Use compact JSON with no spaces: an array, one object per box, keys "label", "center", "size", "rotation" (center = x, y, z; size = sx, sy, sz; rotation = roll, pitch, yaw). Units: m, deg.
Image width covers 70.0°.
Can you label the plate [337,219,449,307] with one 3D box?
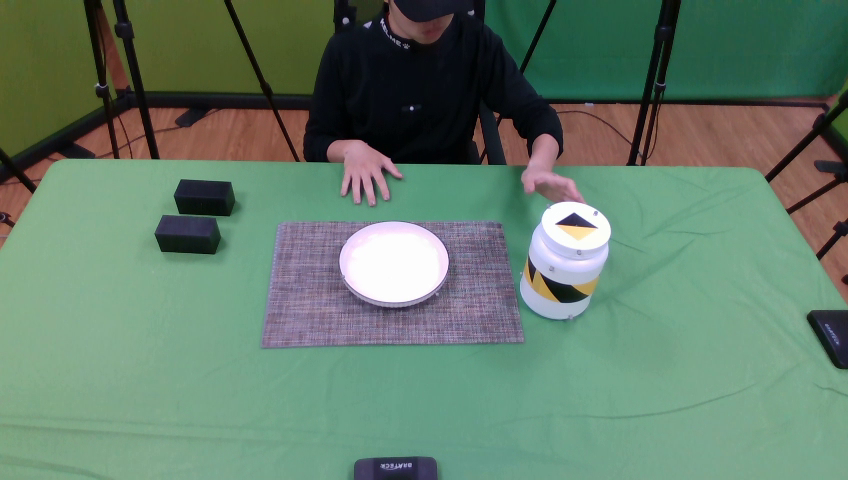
[{"label":"plate","center":[-0.057,0.045,1.133],"size":[0.208,0.039,0.206],"rotation":[2,46,-2]}]

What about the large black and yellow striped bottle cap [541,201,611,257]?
[{"label":"large black and yellow striped bottle cap","center":[0.252,-0.021,1.004],"size":[0.115,0.019,0.114],"rotation":[1,47,-1]}]

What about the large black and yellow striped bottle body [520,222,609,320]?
[{"label":"large black and yellow striped bottle body","center":[0.247,0.038,1.065],"size":[0.131,0.185,0.130],"rotation":[2,46,-2]}]
